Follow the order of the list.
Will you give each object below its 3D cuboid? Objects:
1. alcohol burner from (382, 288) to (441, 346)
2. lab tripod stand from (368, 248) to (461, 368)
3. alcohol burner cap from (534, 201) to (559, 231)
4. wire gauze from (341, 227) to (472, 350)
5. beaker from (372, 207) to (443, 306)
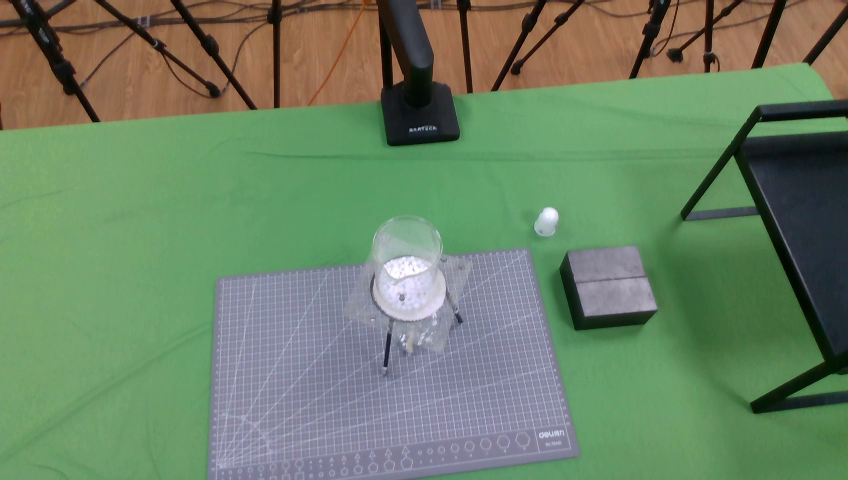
[{"bbox_3d":[-0.015,0.091,0.772,0.078,0.120,0.077,2,62,-3],"label":"alcohol burner"},{"bbox_3d":[-0.019,0.077,0.768,0.148,0.132,0.147,2,59,-3],"label":"lab tripod stand"},{"bbox_3d":[0.184,-0.037,0.897,0.034,0.048,0.033,1,60,-1],"label":"alcohol burner cap"},{"bbox_3d":[-0.018,0.051,0.708,0.125,0.011,0.121,21,63,6],"label":"wire gauze"},{"bbox_3d":[-0.020,0.025,0.666,0.074,0.101,0.083,17,61,7],"label":"beaker"}]
